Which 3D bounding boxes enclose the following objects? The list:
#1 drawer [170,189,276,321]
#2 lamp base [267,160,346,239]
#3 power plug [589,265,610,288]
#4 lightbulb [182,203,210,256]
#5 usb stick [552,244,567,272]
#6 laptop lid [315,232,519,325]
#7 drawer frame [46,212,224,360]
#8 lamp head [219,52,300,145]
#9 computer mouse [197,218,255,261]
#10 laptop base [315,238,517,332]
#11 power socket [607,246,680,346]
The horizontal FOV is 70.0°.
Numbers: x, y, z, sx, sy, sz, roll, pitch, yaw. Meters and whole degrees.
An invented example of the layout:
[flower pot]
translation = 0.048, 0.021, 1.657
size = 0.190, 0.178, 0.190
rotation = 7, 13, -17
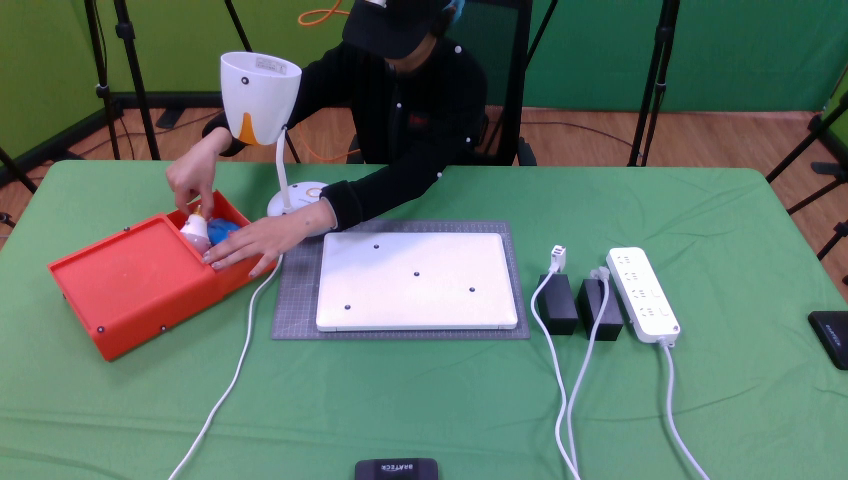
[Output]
[drawer]
translation = -0.414, 0.023, 1.109
size = 0.212, 0.073, 0.193
rotation = -34, 57, -30
[lamp base]
translation = -0.241, -0.110, 1.175
size = 0.160, 0.181, 0.178
rotation = 11, 49, 10
[power plug]
translation = 0.318, 0.073, 1.108
size = 0.035, 0.053, 0.072
rotation = 26, 34, 13
[lightbulb]
translation = -0.421, -0.018, 1.120
size = 0.059, 0.060, 0.107
rotation = 7, 75, 3
[usb stick]
translation = 0.251, 0.039, 1.123
size = 0.021, 0.059, 0.027
rotation = 14, 47, 24
[laptop lid]
translation = -0.015, 0.065, 1.118
size = 0.357, 0.013, 0.240
rotation = 1, 43, -3
[drawer frame]
translation = -0.495, 0.071, 1.050
size = 0.213, 0.083, 0.200
rotation = -33, 56, -30
[lamp head]
translation = -0.244, -0.204, 0.889
size = 0.112, 0.123, 0.112
rotation = 10, 33, -7
[computer mouse]
translation = -0.378, -0.007, 1.154
size = 0.116, 0.041, 0.063
rotation = 27, 52, 30
[laptop base]
translation = -0.016, 0.075, 1.125
size = 0.355, 0.023, 0.234
rotation = 0, 42, -4
[power socket]
translation = 0.403, 0.096, 1.123
size = 0.072, 0.033, 0.225
rotation = -3, 46, -5
